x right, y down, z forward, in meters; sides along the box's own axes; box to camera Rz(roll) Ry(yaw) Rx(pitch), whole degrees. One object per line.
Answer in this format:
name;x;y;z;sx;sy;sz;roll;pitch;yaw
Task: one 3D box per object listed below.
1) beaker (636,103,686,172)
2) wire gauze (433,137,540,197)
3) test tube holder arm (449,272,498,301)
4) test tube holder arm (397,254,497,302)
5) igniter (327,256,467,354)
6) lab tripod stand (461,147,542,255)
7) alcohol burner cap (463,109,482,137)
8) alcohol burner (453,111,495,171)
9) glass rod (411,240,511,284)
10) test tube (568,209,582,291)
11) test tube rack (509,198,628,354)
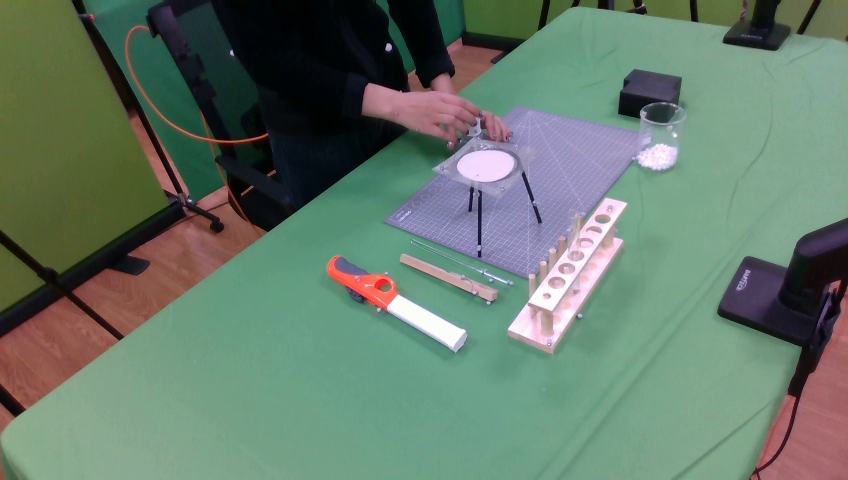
beaker;0.413;-0.177;1.055;0.084;0.101;0.073;-28;44;-21
wire gauze;0.094;-0.116;0.907;0.124;0.011;0.122;21;47;30
test tube holder arm;0.070;0.068;0.895;0.087;0.015;0.010;21;12;32
test tube holder arm;0.031;0.055;0.913;0.177;0.015;0.013;21;12;30
igniter;-0.051;0.088;0.886;0.274;0.025;0.057;27;62;35
lab tripod stand;0.114;-0.069;0.953;0.148;0.132;0.147;-5;38;4
alcohol burner cap;0.088;-0.213;1.088;0.034;0.048;0.033;-1;49;2
alcohol burner;0.092;-0.187;1.112;0.078;0.119;0.077;-4;41;4
glass rod;0.053;0.033;0.946;0.198;0.008;0.008;22;50;36
test tube;0.200;0.017;0.799;0.017;0.151;0.017;-8;45;8
test tube rack;0.206;0.039;0.850;0.066;0.085;0.243;20;48;31
